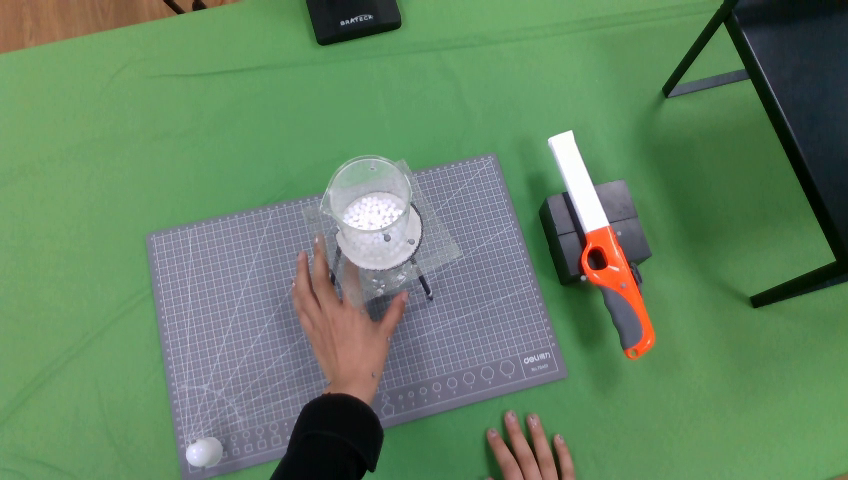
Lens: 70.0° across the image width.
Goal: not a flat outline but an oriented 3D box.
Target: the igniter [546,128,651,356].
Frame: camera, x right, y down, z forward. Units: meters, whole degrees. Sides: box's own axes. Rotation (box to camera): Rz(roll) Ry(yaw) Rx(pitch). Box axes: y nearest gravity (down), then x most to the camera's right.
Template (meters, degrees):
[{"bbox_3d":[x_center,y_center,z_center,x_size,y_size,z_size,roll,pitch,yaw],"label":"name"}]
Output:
[{"bbox_3d":[0.201,-0.003,0.700,0.057,0.025,0.274,-18,74,5],"label":"igniter"}]

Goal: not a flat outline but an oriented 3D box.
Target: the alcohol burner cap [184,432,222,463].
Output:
[{"bbox_3d":[-0.242,0.226,0.657,0.034,0.048,0.033,0,72,-1],"label":"alcohol burner cap"}]

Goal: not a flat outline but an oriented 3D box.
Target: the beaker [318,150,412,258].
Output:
[{"bbox_3d":[-0.052,-0.027,0.571,0.084,0.101,0.073,-16,73,-6],"label":"beaker"}]

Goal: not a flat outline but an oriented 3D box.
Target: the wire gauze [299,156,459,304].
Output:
[{"bbox_3d":[-0.046,-0.012,0.616,0.125,0.011,0.121,-27,77,-11],"label":"wire gauze"}]

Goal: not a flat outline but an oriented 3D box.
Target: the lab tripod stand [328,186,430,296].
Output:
[{"bbox_3d":[-0.049,0.000,0.681,0.148,0.132,0.147,0,72,0],"label":"lab tripod stand"}]

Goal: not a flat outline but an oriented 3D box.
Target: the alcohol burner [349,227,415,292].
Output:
[{"bbox_3d":[-0.048,0.018,0.687,0.078,0.119,0.077,1,75,-2],"label":"alcohol burner"}]
